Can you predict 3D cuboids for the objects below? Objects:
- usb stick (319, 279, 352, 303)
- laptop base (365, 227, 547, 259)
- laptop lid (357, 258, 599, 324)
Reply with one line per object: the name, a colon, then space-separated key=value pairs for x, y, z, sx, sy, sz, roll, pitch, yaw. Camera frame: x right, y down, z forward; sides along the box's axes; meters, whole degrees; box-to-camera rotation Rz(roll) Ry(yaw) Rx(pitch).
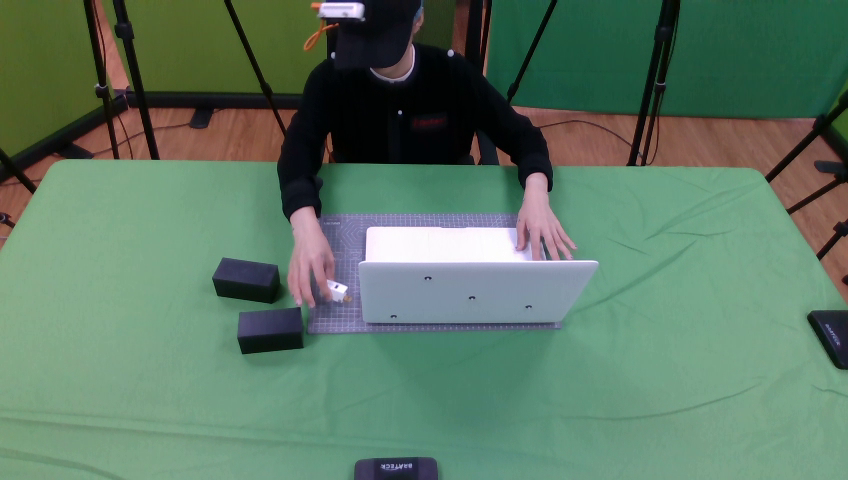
usb stick: x=-0.153 y=0.091 z=1.059 sx=0.059 sy=0.027 sz=0.021 roll=22 pitch=36 yaw=4
laptop base: x=0.065 y=0.062 z=1.144 sx=0.355 sy=0.023 sz=0.234 roll=0 pitch=43 yaw=-4
laptop lid: x=0.075 y=0.087 z=0.960 sx=0.357 sy=0.242 sz=0.013 roll=1 pitch=60 yaw=-5
